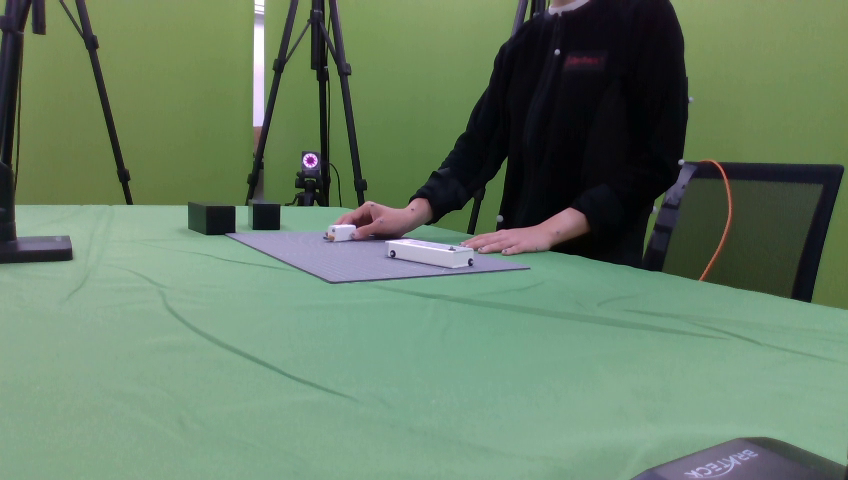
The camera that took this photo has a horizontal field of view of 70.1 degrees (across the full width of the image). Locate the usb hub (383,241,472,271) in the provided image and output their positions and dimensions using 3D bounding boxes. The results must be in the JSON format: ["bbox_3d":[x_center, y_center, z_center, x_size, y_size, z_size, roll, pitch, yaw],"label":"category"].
[{"bbox_3d":[0.003,0.020,0.842,0.124,0.025,0.050,8,9,39],"label":"usb hub"}]

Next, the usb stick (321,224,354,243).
[{"bbox_3d":[-0.146,-0.011,1.012,0.021,0.027,0.059,13,18,39],"label":"usb stick"}]
